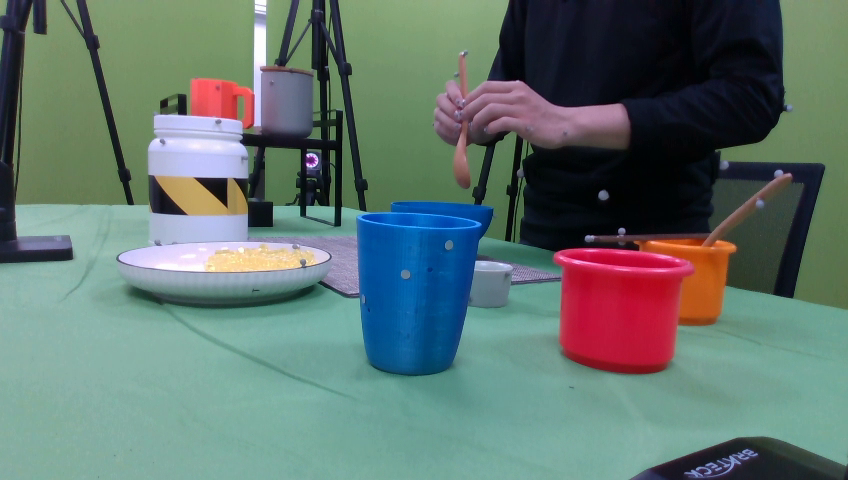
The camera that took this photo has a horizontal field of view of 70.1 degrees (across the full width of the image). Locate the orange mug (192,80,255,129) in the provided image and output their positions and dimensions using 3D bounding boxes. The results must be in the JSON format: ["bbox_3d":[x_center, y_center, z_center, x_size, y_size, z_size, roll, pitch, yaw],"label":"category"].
[{"bbox_3d":[-0.389,-0.257,1.172,0.126,0.100,0.083,-1,6,9],"label":"orange mug"}]

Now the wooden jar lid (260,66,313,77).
[{"bbox_3d":[-0.283,-0.339,1.244,0.108,0.020,0.108,6,8,0],"label":"wooden jar lid"}]

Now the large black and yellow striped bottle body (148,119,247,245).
[{"bbox_3d":[-0.318,-0.076,0.855,0.131,0.184,0.130,2,7,0],"label":"large black and yellow striped bottle body"}]

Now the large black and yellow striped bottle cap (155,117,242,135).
[{"bbox_3d":[-0.313,-0.159,0.845,0.115,0.019,0.115,3,9,0],"label":"large black and yellow striped bottle cap"}]

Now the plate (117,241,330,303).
[{"bbox_3d":[-0.203,0.031,0.630,0.209,0.038,0.209,3,7,0],"label":"plate"}]

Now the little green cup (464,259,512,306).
[{"bbox_3d":[0.057,0.043,0.611,0.061,0.038,0.061,3,7,0],"label":"little green cup"}]

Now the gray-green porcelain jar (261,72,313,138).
[{"bbox_3d":[-0.284,-0.276,1.253,0.106,0.126,0.106,2,8,0],"label":"gray-green porcelain jar"}]

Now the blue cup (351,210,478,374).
[{"bbox_3d":[-0.009,0.034,0.414,0.093,0.100,0.092,4,8,0],"label":"blue cup"}]

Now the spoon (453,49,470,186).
[{"bbox_3d":[0.054,-0.171,0.841,0.022,0.193,0.041,5,-8,-20],"label":"spoon"}]

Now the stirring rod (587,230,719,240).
[{"bbox_3d":[0.226,-0.005,0.587,0.177,0.006,0.014,-2,9,-29],"label":"stirring rod"}]

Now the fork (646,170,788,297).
[{"bbox_3d":[0.256,0.004,0.543,0.028,0.018,0.207,3,-36,-9],"label":"fork"}]

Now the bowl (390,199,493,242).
[{"bbox_3d":[0.023,-0.016,0.874,0.151,0.077,0.151,2,7,0],"label":"bowl"}]
